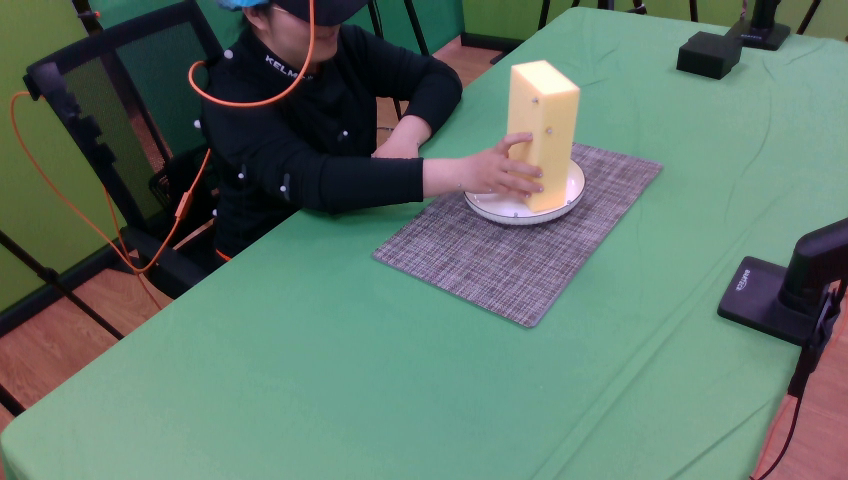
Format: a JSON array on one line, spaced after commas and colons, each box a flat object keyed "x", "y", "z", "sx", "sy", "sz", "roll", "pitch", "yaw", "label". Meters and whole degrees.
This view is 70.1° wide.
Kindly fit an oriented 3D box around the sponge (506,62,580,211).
[{"x": 0.187, "y": -0.166, "z": 0.983, "sx": 0.061, "sy": 0.207, "sz": 0.117, "roll": -12, "pitch": 38, "yaw": -13, "label": "sponge"}]

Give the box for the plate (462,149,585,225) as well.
[{"x": 0.170, "y": -0.089, "z": 1.041, "sx": 0.207, "sy": 0.039, "sz": 0.206, "roll": -5, "pitch": 40, "yaw": 5, "label": "plate"}]
